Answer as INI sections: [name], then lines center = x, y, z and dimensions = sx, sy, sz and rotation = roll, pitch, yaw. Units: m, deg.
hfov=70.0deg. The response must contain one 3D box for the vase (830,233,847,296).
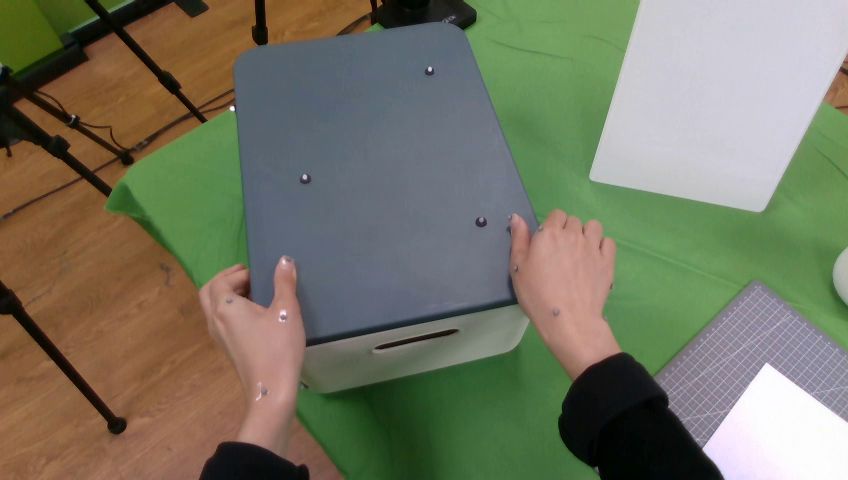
[vase]
center = 0.508, -0.007, 0.616
dimensions = 0.098, 0.201, 0.097
rotation = 0, 59, 1

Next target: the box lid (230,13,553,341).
[box lid]
center = -0.048, -0.091, 0.597
dimensions = 0.264, 0.015, 0.367
rotation = -11, 59, -8

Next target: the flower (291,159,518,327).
[flower]
center = -0.041, -0.012, 0.726
dimensions = 0.359, 0.038, 0.044
rotation = 35, 97, 25

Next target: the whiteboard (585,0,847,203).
[whiteboard]
center = 0.339, -0.224, 0.716
dimensions = 0.217, 0.308, 0.143
rotation = 13, 42, 8

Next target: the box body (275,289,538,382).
[box body]
center = -0.047, -0.048, 0.666
dimensions = 0.254, 0.161, 0.360
rotation = -12, 61, -6
